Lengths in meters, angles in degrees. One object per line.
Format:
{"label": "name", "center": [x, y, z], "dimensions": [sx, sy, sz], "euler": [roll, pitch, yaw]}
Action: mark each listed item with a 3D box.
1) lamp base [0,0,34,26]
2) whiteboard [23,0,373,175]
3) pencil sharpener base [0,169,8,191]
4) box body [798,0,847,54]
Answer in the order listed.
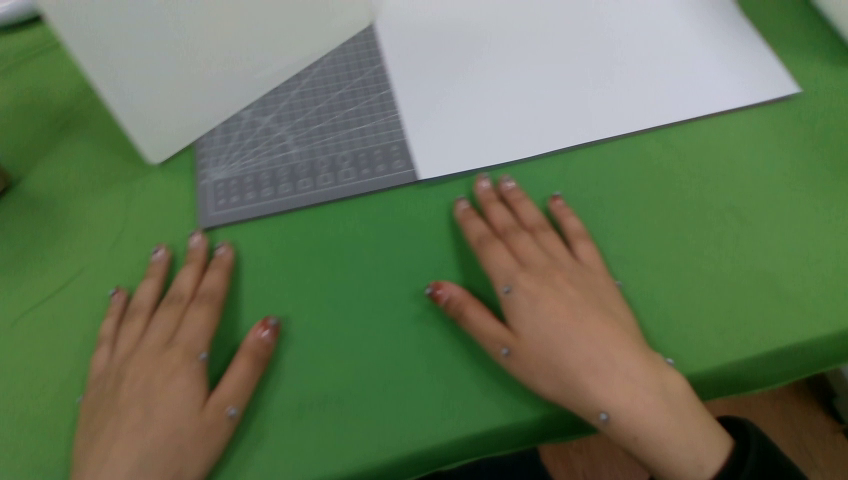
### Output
{"label": "lamp base", "center": [-0.408, -0.299, 0.503], "dimensions": [0.178, 0.182, 0.160], "euler": [22, 63, 18]}
{"label": "whiteboard", "center": [-0.205, -0.246, 0.424], "dimensions": [0.217, 0.309, 0.142], "euler": [-40, 46, -18]}
{"label": "pencil sharpener base", "center": [-0.356, -0.063, 0.405], "dimensions": [0.076, 0.108, 0.061], "euler": [26, 64, 17]}
{"label": "box body", "center": [0.407, -0.333, 0.499], "dimensions": [0.254, 0.162, 0.360], "euler": [-14, 60, -5]}
